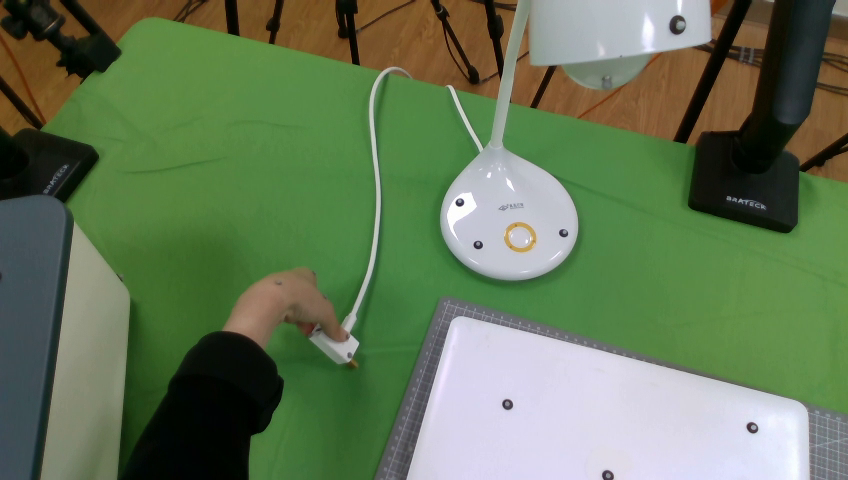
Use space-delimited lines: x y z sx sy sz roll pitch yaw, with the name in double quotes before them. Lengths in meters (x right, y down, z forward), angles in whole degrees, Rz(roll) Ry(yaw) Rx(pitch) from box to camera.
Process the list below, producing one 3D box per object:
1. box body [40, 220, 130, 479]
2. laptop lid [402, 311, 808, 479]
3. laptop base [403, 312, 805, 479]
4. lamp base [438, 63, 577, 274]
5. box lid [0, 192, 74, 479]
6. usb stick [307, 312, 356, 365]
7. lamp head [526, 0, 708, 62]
"box body" -0.411 0.168 0.511 0.254 0.161 0.360 -9 60 -5
"laptop lid" 0.164 0.209 0.551 0.356 0.013 0.240 15 64 9
"laptop base" 0.165 0.214 0.563 0.353 0.023 0.234 13 64 8
"lamp base" 0.090 -0.080 0.641 0.161 0.182 0.177 -19 58 -10
"box lid" -0.412 0.129 0.448 0.263 0.015 0.368 -9 61 -4
"usb stick" -0.089 0.102 0.614 0.021 0.059 0.027 -17 31 37
"lamp head" 0.112 -0.177 0.374 0.112 0.112 0.123 -12 104 -6
